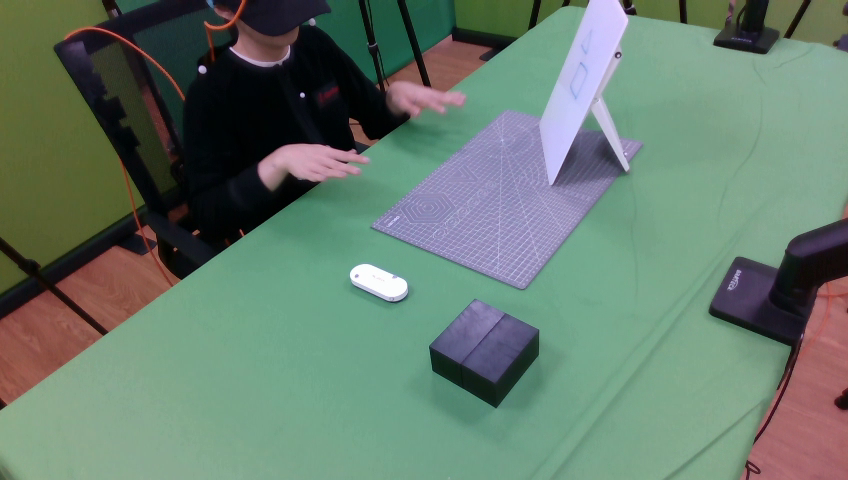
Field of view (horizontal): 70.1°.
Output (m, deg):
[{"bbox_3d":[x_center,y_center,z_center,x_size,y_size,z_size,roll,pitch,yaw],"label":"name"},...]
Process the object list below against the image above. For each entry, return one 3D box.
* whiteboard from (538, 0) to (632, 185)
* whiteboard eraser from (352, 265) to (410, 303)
[{"bbox_3d":[0.327,-0.259,1.055,0.144,0.305,0.216,13,40,-6],"label":"whiteboard"},{"bbox_3d":[-0.066,0.065,0.914,0.100,0.019,0.041,21,49,31],"label":"whiteboard eraser"}]
